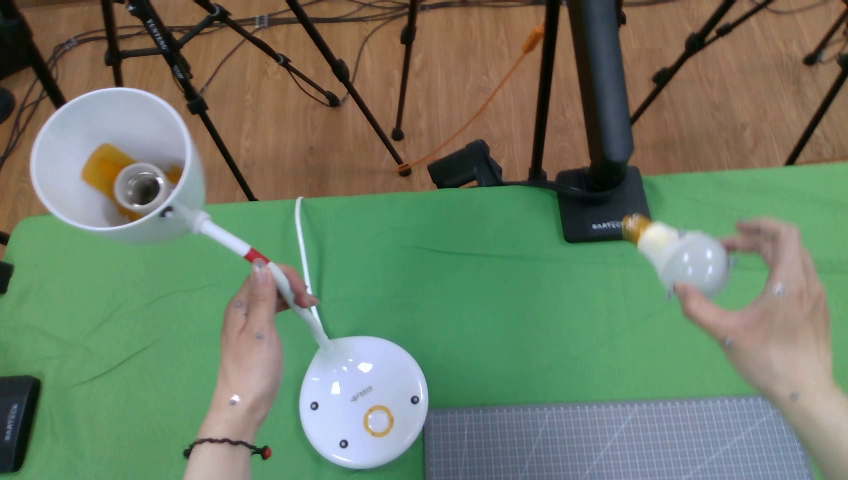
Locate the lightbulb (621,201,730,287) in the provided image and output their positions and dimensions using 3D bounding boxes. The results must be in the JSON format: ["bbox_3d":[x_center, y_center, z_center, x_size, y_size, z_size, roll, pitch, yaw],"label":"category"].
[{"bbox_3d":[0.220,-0.002,0.540,0.059,0.060,0.106,-36,51,-12],"label":"lightbulb"}]

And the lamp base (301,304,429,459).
[{"bbox_3d":[-0.087,0.149,0.692,0.160,0.182,0.178,-41,66,-15],"label":"lamp base"}]

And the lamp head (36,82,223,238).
[{"bbox_3d":[-0.219,-0.047,0.487,0.112,0.123,0.111,0,72,1],"label":"lamp head"}]
